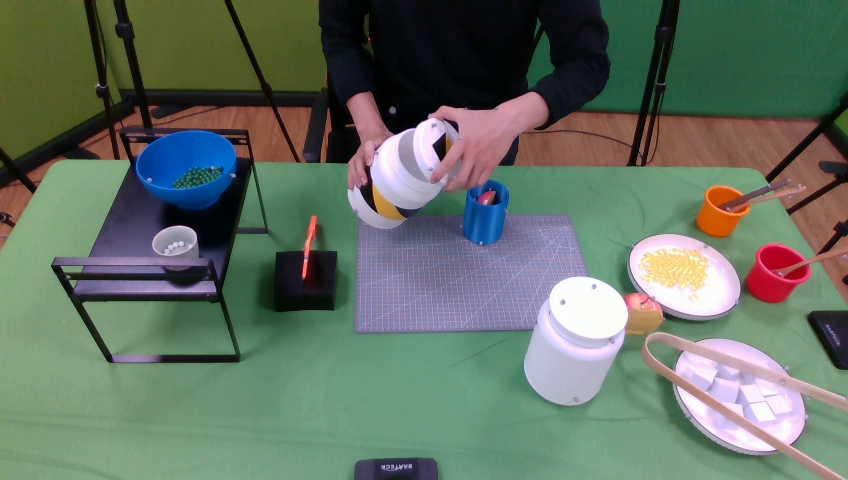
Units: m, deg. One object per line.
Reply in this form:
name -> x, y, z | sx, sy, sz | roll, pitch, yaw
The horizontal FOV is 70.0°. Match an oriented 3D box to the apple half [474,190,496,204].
apple half -> 0.109, -0.067, 1.200 | 0.032, 0.081, 0.081 | 29, 51, 13

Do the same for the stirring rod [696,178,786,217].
stirring rod -> 0.648, -0.087, 1.244 | 0.176, 0.006, 0.014 | -25, 50, 29

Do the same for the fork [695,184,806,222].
fork -> 0.658, -0.074, 1.229 | 0.207, 0.019, 0.028 | -24, 33, 36

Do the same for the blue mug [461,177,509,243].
blue mug -> 0.114, -0.069, 1.210 | 0.082, 0.106, 0.115 | -12, 48, -15

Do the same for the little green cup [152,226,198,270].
little green cup -> -0.364, 0.013, 0.894 | 0.061, 0.039, 0.061 | 3, 47, -3

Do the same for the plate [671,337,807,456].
plate -> 0.504, 0.254, 0.984 | 0.208, 0.039, 0.206 | 2, 46, -2

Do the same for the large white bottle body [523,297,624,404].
large white bottle body -> 0.235, 0.159, 0.952 | 0.131, 0.185, 0.130 | 2, 47, -2

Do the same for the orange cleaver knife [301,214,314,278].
orange cleaver knife -> -0.218, 0.007, 1.131 | 0.012, 0.077, 0.210 | 7, 19, -9

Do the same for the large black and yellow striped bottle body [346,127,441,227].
large black and yellow striped bottle body -> -0.047, -0.112, 1.090 | 0.131, 0.184, 0.130 | 13, 64, -28

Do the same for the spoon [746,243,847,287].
spoon -> 0.702, 0.043, 1.126 | 0.194, 0.022, 0.041 | -29, 38, 30

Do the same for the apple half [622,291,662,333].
apple half -> 0.372, 0.124, 1.073 | 0.081, 0.075, 0.053 | 0, 42, 1

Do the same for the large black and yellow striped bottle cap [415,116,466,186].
large black and yellow striped bottle cap -> 0.028, -0.146, 0.991 | 0.019, 0.115, 0.114 | -12, 34, 39

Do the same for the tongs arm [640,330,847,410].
tongs arm -> 0.543, 0.225, 0.969 | 0.384, 0.026, 0.050 | 22, 53, 13

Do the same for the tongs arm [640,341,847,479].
tongs arm -> 0.500, 0.278, 0.920 | 0.386, 0.028, 0.028 | 34, 59, 22

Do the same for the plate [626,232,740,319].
plate -> 0.489, 0.071, 1.157 | 0.209, 0.038, 0.208 | 3, 46, -3

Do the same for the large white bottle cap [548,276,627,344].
large white bottle cap -> 0.240, 0.100, 0.890 | 0.115, 0.018, 0.114 | 3, 47, -3

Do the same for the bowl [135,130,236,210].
bowl -> -0.375, -0.102, 0.978 | 0.151, 0.077, 0.150 | 2, 46, -2
